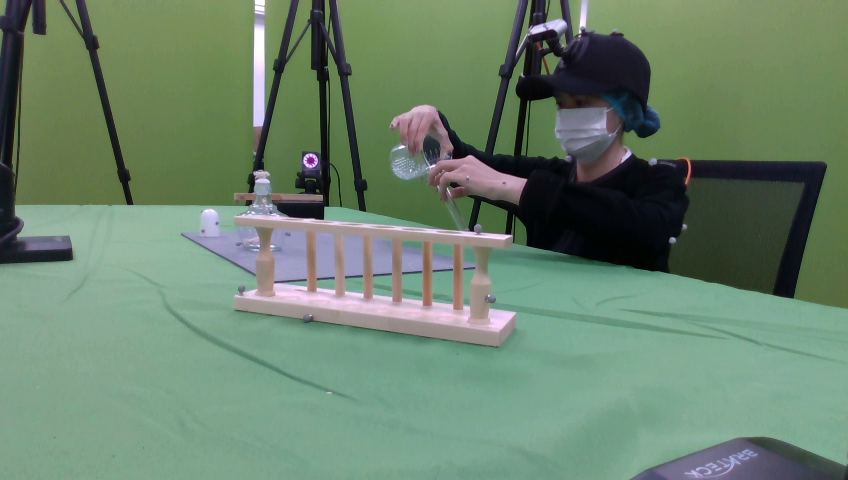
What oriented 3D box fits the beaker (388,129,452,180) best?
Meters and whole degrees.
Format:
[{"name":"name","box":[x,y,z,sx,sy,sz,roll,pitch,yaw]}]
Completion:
[{"name":"beaker","box":[-0.010,-0.148,1.093,0.074,0.084,0.100,18,-18,-40]}]

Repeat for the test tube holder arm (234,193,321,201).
[{"name":"test tube holder arm","box":[-0.299,-0.088,1.248,0.179,0.015,0.013,-1,16,-30]}]

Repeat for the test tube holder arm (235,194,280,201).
[{"name":"test tube holder arm","box":[-0.336,-0.086,1.221,0.088,0.015,0.010,-1,16,-29]}]

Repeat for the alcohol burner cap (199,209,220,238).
[{"name":"alcohol burner cap","box":[-0.356,-0.027,1.002,0.034,0.048,0.034,2,7,0]}]

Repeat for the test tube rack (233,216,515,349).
[{"name":"test tube rack","box":[-0.045,0.029,0.526,0.241,0.085,0.067,5,7,19]}]

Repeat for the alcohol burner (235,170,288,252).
[{"name":"alcohol burner","box":[-0.236,-0.042,0.882,0.078,0.119,0.078,2,9,0]}]

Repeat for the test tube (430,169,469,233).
[{"name":"test tube","box":[0.042,-0.063,1.008,0.017,0.017,0.149,-1,48,-29]}]
